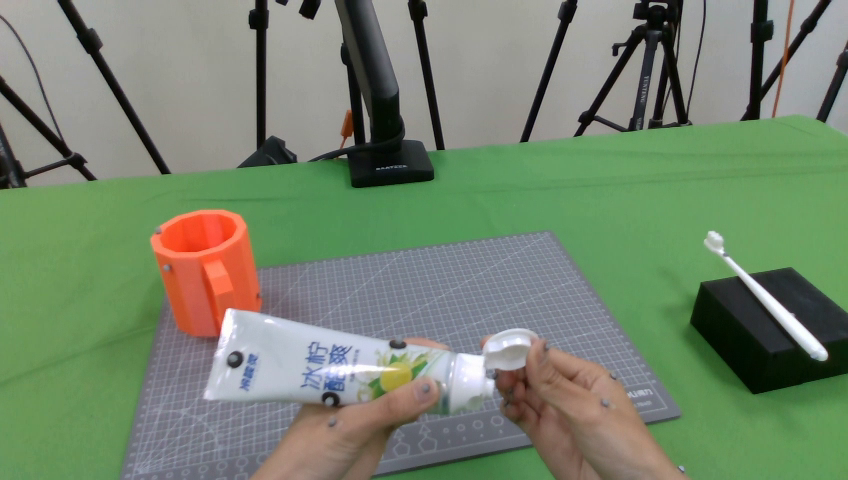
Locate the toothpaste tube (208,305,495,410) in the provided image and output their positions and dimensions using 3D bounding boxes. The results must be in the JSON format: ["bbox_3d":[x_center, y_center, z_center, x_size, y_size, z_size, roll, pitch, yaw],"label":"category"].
[{"bbox_3d":[-0.041,0.071,0.352,0.165,0.035,0.054,5,66,5],"label":"toothpaste tube"}]

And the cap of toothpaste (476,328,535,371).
[{"bbox_3d":[0.049,0.066,0.358,0.037,0.037,0.011,-6,43,-7],"label":"cap of toothpaste"}]

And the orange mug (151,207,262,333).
[{"bbox_3d":[-0.204,0.037,0.589,0.084,0.101,0.125,-19,34,-24],"label":"orange mug"}]

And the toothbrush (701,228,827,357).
[{"bbox_3d":[0.308,0.042,0.559,0.014,0.017,0.180,-2,34,-9],"label":"toothbrush"}]
